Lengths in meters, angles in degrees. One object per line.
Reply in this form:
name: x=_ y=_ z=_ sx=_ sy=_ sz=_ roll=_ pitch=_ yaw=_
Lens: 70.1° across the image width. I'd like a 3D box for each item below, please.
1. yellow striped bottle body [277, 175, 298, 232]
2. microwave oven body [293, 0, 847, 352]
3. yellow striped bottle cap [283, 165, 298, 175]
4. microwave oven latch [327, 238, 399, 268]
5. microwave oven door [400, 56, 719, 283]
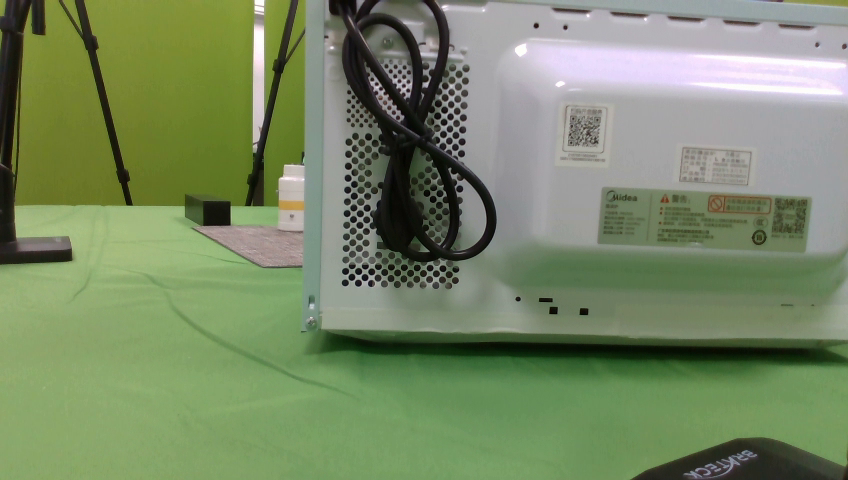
yellow striped bottle body: x=-0.242 y=-0.078 z=1.130 sx=0.063 sy=0.120 sz=0.063 roll=2 pitch=8 yaw=0
microwave oven body: x=0.122 y=-0.055 z=0.550 sx=0.442 sy=0.260 sz=0.325 roll=3 pitch=7 yaw=-5
yellow striped bottle cap: x=-0.240 y=-0.129 z=1.124 sx=0.044 sy=0.018 sz=0.044 roll=5 pitch=7 yaw=0
microwave oven latch: x=-0.069 y=0.015 z=0.694 sx=0.079 sy=0.029 sz=0.030 roll=3 pitch=7 yaw=-3
microwave oven door: x=0.155 y=-0.077 z=0.698 sx=0.356 sy=0.243 sz=0.039 roll=2 pitch=8 yaw=-5
